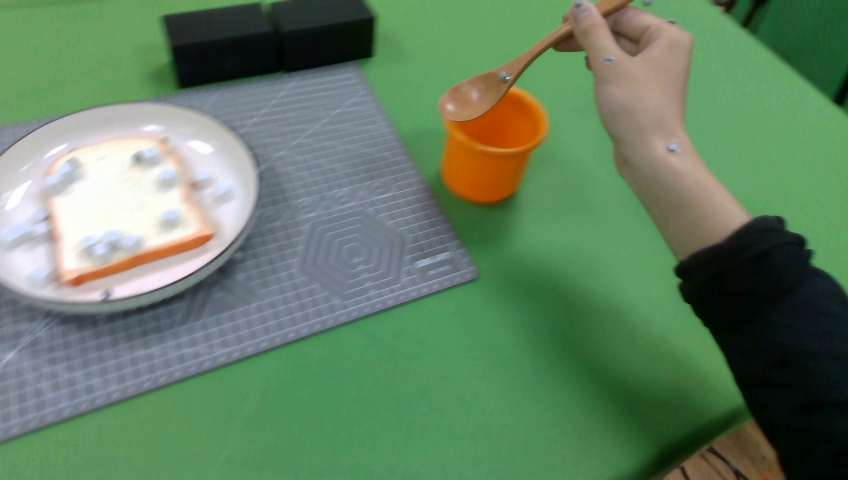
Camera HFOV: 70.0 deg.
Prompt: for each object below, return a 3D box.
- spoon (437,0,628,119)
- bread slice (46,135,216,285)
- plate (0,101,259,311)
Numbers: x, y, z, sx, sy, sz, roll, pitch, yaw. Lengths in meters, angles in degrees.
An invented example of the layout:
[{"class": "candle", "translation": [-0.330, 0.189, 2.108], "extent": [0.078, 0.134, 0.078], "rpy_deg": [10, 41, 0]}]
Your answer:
[{"class": "spoon", "translation": [0.092, -0.145, 0.443], "extent": [0.193, 0.022, 0.041], "rpy_deg": [-30, 55, 25]}, {"class": "bread slice", "translation": [-0.244, -0.031, 0.487], "extent": [0.107, 0.018, 0.133], "rpy_deg": [-24, 61, -23]}, {"class": "plate", "translation": [-0.238, -0.029, 0.484], "extent": [0.209, 0.038, 0.207], "rpy_deg": [4, 53, -5]}]
